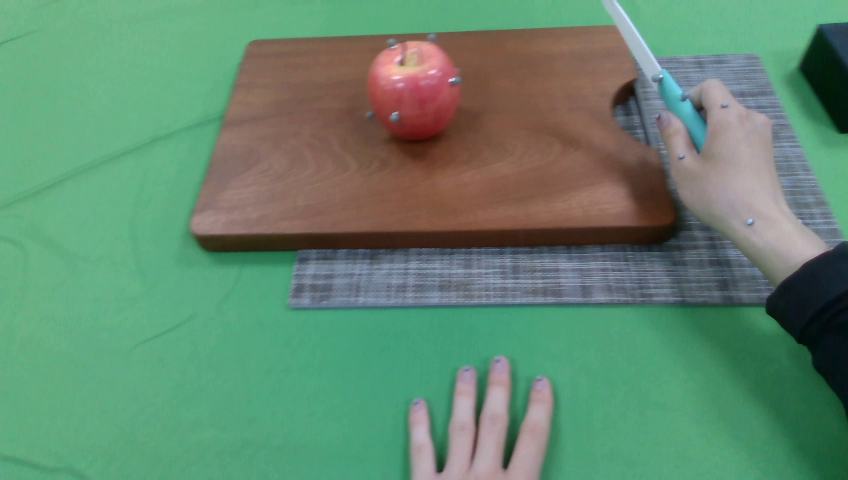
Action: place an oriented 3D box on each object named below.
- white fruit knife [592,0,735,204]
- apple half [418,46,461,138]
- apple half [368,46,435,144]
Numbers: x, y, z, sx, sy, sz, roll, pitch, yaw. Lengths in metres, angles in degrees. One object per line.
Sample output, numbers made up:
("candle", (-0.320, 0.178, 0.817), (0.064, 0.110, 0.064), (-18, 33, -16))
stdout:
("white fruit knife", (0.188, -0.121, 0.486), (0.016, 0.027, 0.206), (-28, 80, -8))
("apple half", (0.017, -0.133, 0.539), (0.033, 0.082, 0.080), (-12, 53, 1))
("apple half", (-0.021, -0.125, 0.538), (0.053, 0.075, 0.080), (-11, 57, 2))
